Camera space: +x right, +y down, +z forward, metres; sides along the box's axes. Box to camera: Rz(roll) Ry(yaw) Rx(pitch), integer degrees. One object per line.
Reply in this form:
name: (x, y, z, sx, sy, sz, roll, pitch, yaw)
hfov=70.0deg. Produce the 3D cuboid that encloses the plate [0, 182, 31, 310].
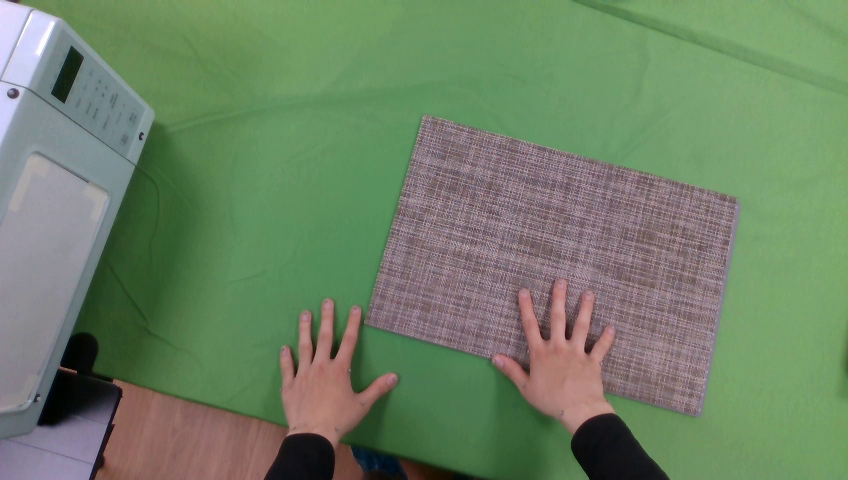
plate: (-0.566, 0.012, 0.713, 0.209, 0.038, 0.208, 1, 83, -4)

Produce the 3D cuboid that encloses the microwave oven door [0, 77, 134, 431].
microwave oven door: (-0.439, 0.034, 0.651, 0.039, 0.244, 0.354, 15, 80, 1)

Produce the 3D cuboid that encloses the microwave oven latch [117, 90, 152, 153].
microwave oven latch: (-0.381, -0.156, 0.786, 0.030, 0.029, 0.079, 18, 81, 0)

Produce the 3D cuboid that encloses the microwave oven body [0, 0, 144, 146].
microwave oven body: (-0.568, -0.045, 0.663, 0.326, 0.261, 0.440, 16, 81, 0)
